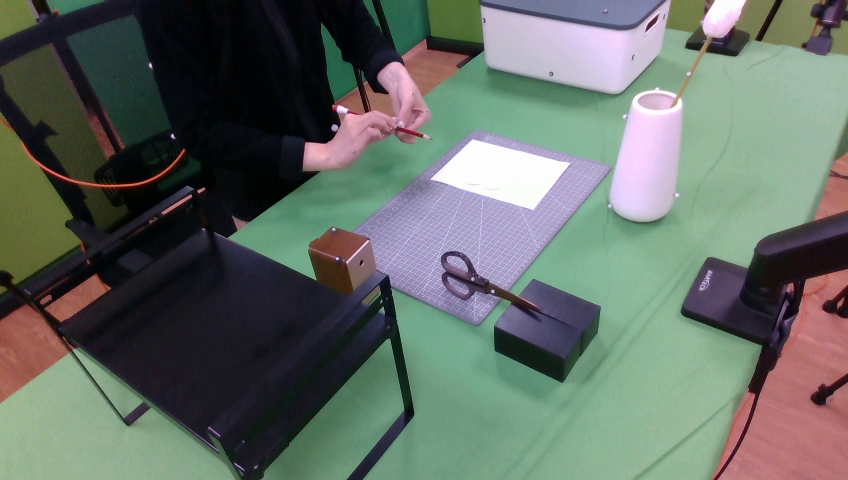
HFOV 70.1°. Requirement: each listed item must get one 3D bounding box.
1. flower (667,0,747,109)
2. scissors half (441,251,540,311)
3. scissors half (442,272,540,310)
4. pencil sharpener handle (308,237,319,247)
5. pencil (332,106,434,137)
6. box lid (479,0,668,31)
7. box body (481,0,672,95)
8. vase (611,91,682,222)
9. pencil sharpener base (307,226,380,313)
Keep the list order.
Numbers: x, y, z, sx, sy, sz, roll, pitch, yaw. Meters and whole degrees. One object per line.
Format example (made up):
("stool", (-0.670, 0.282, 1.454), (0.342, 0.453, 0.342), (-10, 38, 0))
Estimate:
("flower", (0.354, -0.187, 0.879), (0.038, 0.362, 0.044), (30, 48, 14))
("scissors half", (0.087, 0.056, 0.824), (0.013, 0.040, 0.173), (-30, 44, -35))
("scissors half", (0.089, 0.074, 0.832), (0.013, 0.040, 0.173), (-24, 23, -38))
("pencil sharpener handle", (-0.159, 0.017, 0.892), (0.030, 0.068, 0.036), (18, 60, 28))
("pencil", (-0.073, -0.204, 1.052), (0.193, 0.012, 0.012), (18, 45, 13))
("box lid", (0.335, -0.536, 1.331), (0.368, 0.015, 0.264), (23, 49, 30))
("box body", (0.341, -0.480, 1.381), (0.361, 0.161, 0.255), (22, 48, 30))
("vase", (0.348, -0.125, 0.935), (0.098, 0.201, 0.097), (-3, 40, 3))
("pencil sharpener base", (-0.116, 0.043, 0.875), (0.076, 0.107, 0.061), (18, 47, 27))
